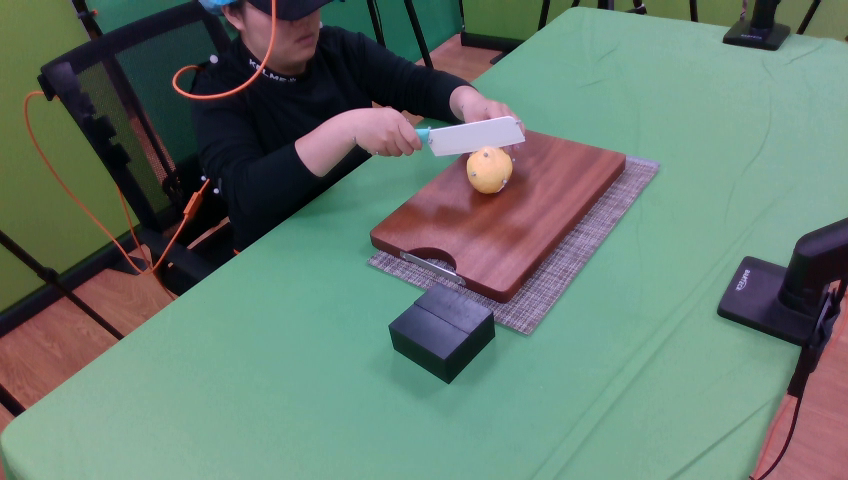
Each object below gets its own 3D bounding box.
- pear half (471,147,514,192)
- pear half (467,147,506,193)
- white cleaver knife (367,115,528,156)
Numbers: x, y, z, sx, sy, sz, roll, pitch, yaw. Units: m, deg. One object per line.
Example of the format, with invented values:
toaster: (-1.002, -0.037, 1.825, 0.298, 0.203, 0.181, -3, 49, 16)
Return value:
pear half: (0.116, -0.140, 1.018, 0.076, 0.110, 0.056, 13, 44, 20)
pear half: (0.100, -0.110, 1.002, 0.070, 0.088, 0.031, 14, 47, 16)
white cleaver knife: (0.029, -0.162, 0.997, 0.284, 0.066, 0.021, -2, 47, 29)
